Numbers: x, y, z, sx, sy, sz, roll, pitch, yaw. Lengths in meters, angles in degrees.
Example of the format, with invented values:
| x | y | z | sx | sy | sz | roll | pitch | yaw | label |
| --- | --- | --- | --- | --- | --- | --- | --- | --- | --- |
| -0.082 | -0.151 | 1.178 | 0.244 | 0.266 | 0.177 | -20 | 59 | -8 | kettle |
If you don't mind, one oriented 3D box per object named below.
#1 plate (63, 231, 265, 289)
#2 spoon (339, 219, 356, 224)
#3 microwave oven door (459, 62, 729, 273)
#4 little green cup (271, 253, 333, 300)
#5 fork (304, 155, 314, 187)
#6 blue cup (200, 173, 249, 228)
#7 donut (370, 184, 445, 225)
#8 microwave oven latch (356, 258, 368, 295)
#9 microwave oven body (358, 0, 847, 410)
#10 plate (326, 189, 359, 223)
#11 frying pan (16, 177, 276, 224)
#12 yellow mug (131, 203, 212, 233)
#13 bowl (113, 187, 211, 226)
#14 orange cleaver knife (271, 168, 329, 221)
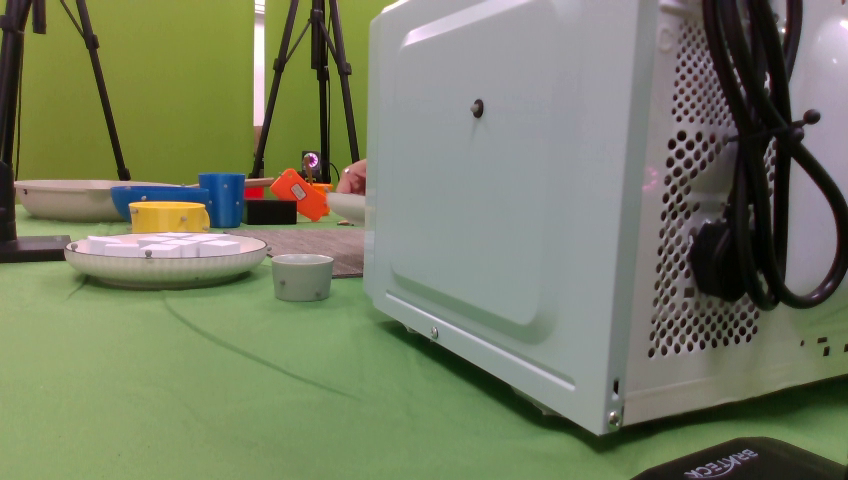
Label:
| x | y | z | sx | sy | sz | roll | pitch | yaw | label |
| --- | --- | --- | --- | --- | --- | --- | --- | --- | --- |
| -0.288 | 0.021 | 0.687 | 0.208 | 0.039 | 0.207 | 2 | 8 | 0 | plate |
| -0.087 | -0.041 | 1.268 | 0.193 | 0.021 | 0.041 | 3 | 19 | 14 | spoon |
| 0.202 | -0.100 | 0.805 | 0.354 | 0.243 | 0.039 | 8 | 10 | 39 | microwave oven door |
| -0.122 | 0.036 | 0.605 | 0.061 | 0.038 | 0.061 | 2 | 6 | 0 | little green cup |
| -0.268 | -0.134 | 1.446 | 0.028 | 0.018 | 0.207 | 2 | -36 | -1 | fork |
| -0.380 | -0.076 | 1.155 | 0.093 | 0.100 | 0.092 | 0 | 8 | 0 | blue cup |
| -0.022 | -0.044 | 0.786 | 0.099 | 0.048 | 0.099 | 9 | -2 | 1 | donut |
| -0.019 | 0.031 | 0.529 | 0.079 | 0.029 | 0.030 | -1 | 7 | -26 | microwave oven latch |
| 0.210 | -0.051 | 0.471 | 0.444 | 0.260 | 0.324 | -1 | 7 | -28 | microwave oven body |
| -0.022 | -0.032 | 0.777 | 0.209 | 0.038 | 0.209 | 8 | 2 | 0 | plate |
| -0.553 | -0.097 | 1.265 | 0.490 | 0.102 | 0.305 | -10 | 13 | -24 | frying pan |
| -0.356 | -0.020 | 0.878 | 0.099 | 0.064 | 0.131 | 5 | 7 | 22 | yellow mug |
| -0.436 | -0.046 | 1.013 | 0.151 | 0.077 | 0.151 | 2 | 7 | 0 | bowl |
| -0.236 | -0.084 | 1.332 | 0.212 | 0.077 | 0.012 | 31 | -9 | -31 | orange cleaver knife |
